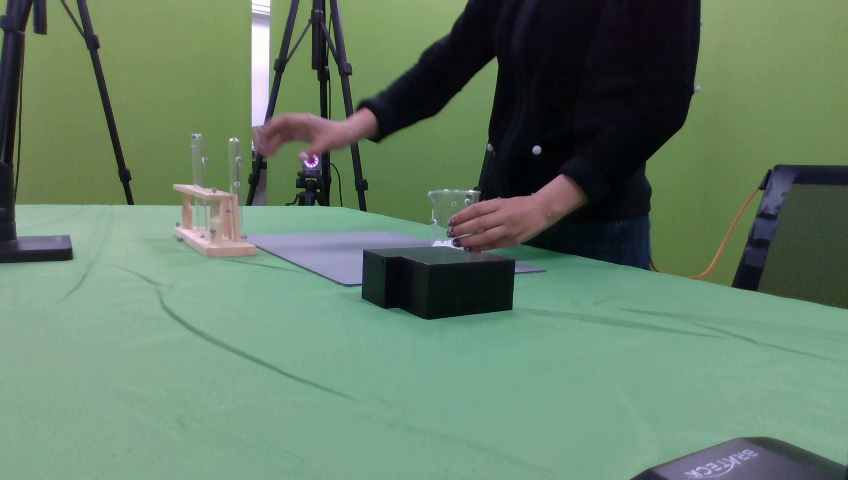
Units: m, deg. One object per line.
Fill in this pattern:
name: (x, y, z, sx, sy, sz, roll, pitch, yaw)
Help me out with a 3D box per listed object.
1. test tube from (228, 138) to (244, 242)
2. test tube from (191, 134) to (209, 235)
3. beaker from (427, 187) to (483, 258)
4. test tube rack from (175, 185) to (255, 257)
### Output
test tube: (-0.270, -0.071, 0.867, 0.017, 0.150, 0.017, 0, 9, 0)
test tube: (-0.332, -0.082, 0.898, 0.017, 0.150, 0.017, -2, 6, 0)
beaker: (0.044, -0.026, 0.894, 0.084, 0.100, 0.073, -1, 7, -18)
test tube rack: (-0.324, -0.035, 0.922, 0.067, 0.085, 0.241, -2, 9, -31)
